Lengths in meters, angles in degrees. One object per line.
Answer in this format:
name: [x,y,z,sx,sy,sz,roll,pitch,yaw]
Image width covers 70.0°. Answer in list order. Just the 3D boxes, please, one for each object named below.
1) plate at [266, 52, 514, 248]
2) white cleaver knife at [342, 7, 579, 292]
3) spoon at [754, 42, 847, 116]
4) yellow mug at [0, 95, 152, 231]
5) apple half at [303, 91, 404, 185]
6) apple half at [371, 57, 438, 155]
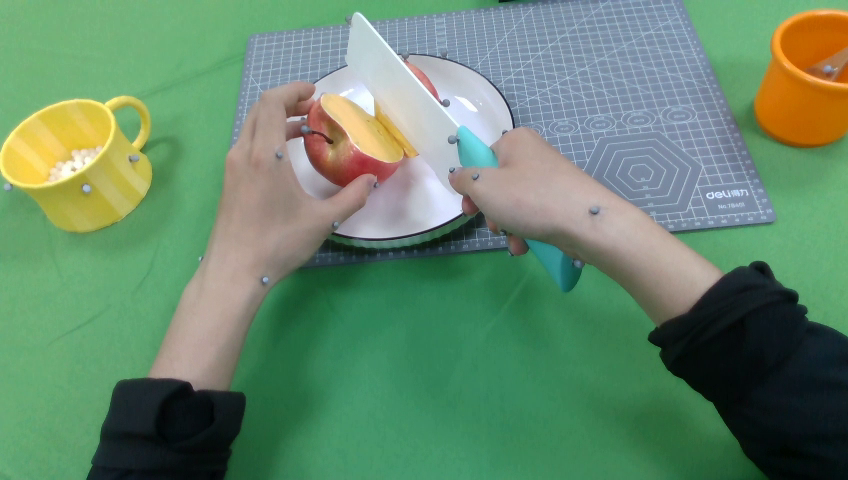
plate: [-0.028,-0.077,0.518,0.209,0.038,0.207,-3,58,5]
white cleaver knife: [0.015,-0.072,0.445,0.021,0.066,0.283,-23,61,-26]
spoon: [0.348,-0.160,0.462,0.022,0.194,0.041,20,46,-33]
yellow mug: [-0.295,-0.078,0.538,0.099,0.064,0.130,26,63,21]
apple half: [-0.061,-0.075,0.492,0.080,0.053,0.075,45,27,10]
apple half: [-0.011,-0.110,0.493,0.033,0.082,0.080,-28,57,-28]
